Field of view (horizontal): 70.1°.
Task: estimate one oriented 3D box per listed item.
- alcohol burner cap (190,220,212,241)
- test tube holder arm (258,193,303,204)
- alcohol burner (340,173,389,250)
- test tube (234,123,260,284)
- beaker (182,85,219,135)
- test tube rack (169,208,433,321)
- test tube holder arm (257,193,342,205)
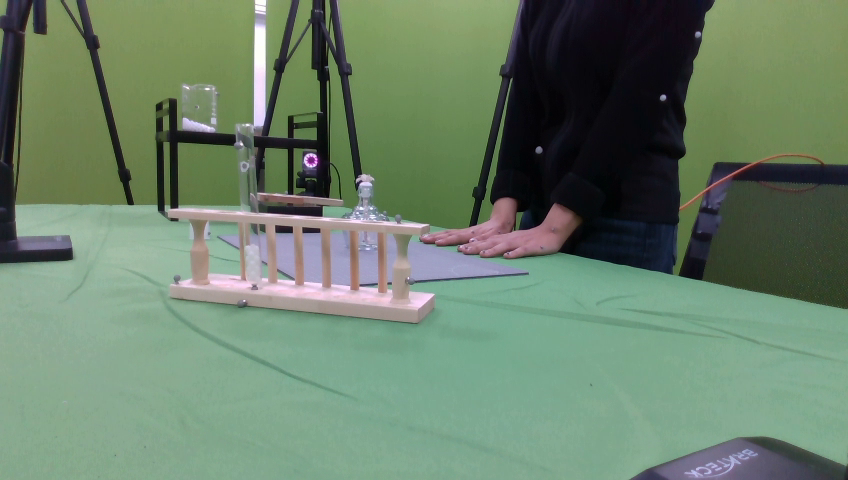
[{"bbox_3d":[-0.365,-0.023,0.988,0.034,0.048,0.034,2,7,0],"label":"alcohol burner cap"},{"bbox_3d":[-0.270,-0.078,1.142,0.088,0.015,0.010,2,23,-39],"label":"test tube holder arm"},{"bbox_3d":[-0.093,-0.045,0.939,0.078,0.119,0.078,0,7,0],"label":"alcohol burner"},{"bbox_3d":[-0.164,-0.032,0.562,0.017,0.150,0.017,-1,8,0],"label":"test tube"},{"bbox_3d":[-0.479,-0.276,1.291,0.074,0.100,0.084,2,8,-1],"label":"beaker"},{"bbox_3d":[-0.115,0.018,0.574,0.242,0.085,0.067,4,8,13],"label":"test tube rack"},{"bbox_3d":[-0.238,-0.079,1.175,0.179,0.015,0.013,1,24,-41],"label":"test tube holder arm"}]
